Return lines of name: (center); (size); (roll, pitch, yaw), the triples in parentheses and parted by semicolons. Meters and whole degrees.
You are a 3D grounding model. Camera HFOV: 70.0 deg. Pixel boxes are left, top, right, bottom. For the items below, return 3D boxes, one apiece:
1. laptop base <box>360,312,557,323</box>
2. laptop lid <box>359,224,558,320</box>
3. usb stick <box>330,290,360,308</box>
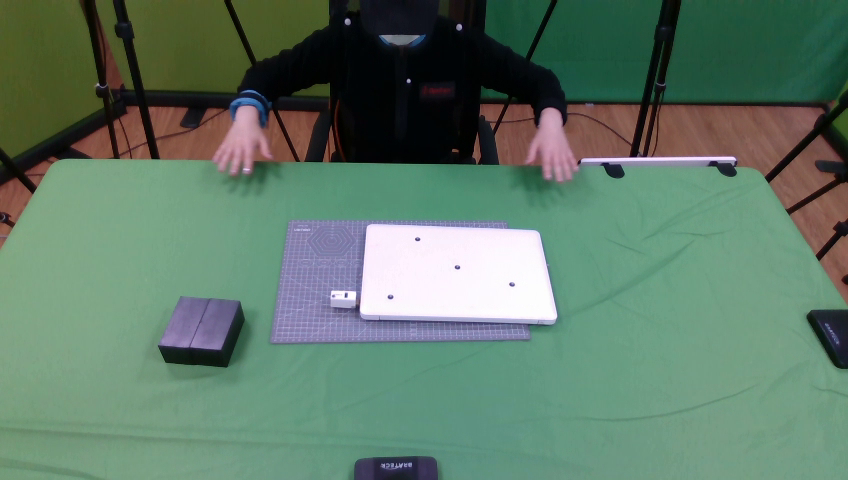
laptop base: (0.061, 0.063, 1.145); (0.354, 0.023, 0.234); (2, 43, -3)
laptop lid: (0.062, 0.053, 1.138); (0.357, 0.013, 0.240); (3, 44, -2)
usb stick: (-0.135, 0.105, 1.068); (0.059, 0.027, 0.021); (6, 44, -7)
